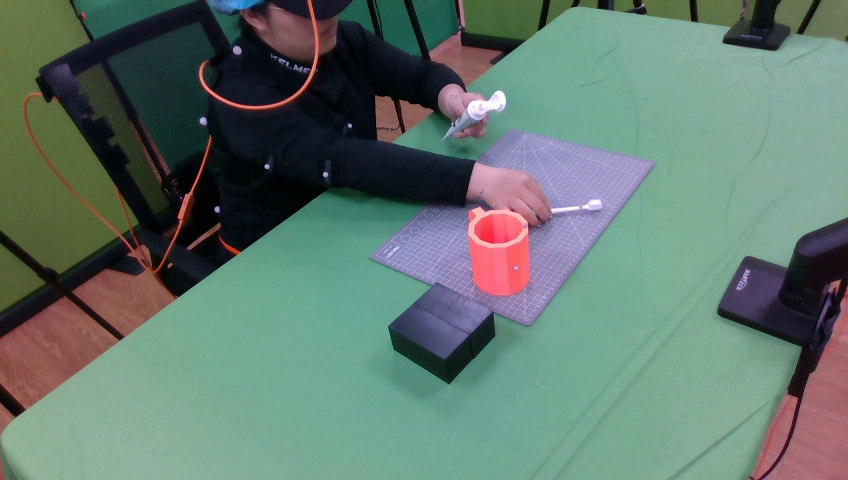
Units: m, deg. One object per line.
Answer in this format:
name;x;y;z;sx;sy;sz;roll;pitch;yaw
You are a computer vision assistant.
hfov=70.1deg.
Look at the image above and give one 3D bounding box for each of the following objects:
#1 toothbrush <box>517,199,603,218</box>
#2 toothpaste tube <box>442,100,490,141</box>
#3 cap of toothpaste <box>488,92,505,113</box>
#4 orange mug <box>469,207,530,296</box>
toothbrush;0.205;-0.048;1.002;0.182;0.017;0.014;-8;64;5
toothpaste tube;0.079;-0.221;1.108;0.055;0.034;0.164;-34;3;-18
cap of toothpaste;0.123;-0.235;1.031;0.011;0.037;0.037;-8;34;-35
orange mug;0.104;0.008;0.894;0.084;0.101;0.125;-22;46;-14
